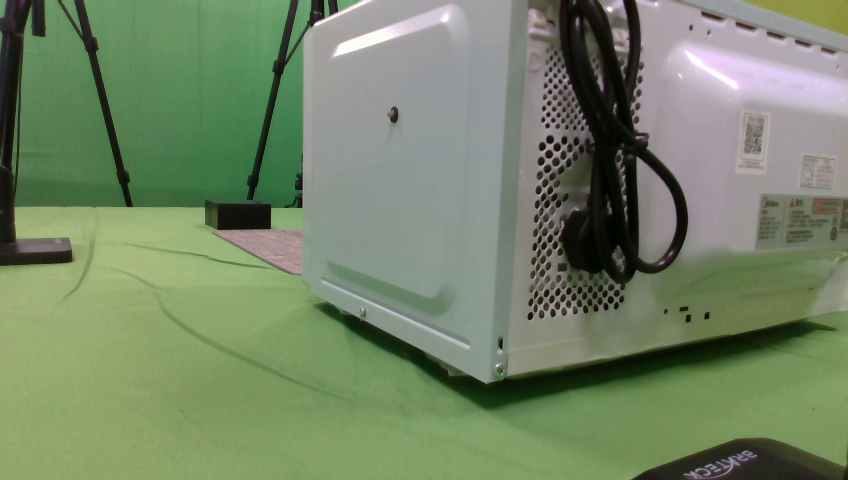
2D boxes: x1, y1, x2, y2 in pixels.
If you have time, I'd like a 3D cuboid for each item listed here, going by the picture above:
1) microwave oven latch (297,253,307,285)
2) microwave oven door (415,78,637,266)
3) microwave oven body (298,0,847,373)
[{"bbox_3d":[-0.082,0.027,0.582,0.079,0.029,0.030,-1,7,-32],"label":"microwave oven latch"},{"bbox_3d":[0.130,-0.105,0.892,0.354,0.243,0.039,9,10,42],"label":"microwave oven door"},{"bbox_3d":[0.151,-0.055,0.543,0.444,0.260,0.324,-1,7,-33],"label":"microwave oven body"}]
